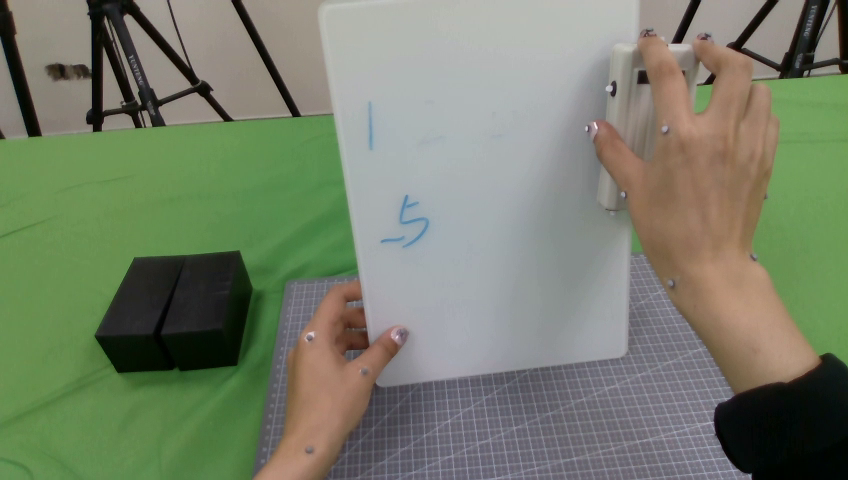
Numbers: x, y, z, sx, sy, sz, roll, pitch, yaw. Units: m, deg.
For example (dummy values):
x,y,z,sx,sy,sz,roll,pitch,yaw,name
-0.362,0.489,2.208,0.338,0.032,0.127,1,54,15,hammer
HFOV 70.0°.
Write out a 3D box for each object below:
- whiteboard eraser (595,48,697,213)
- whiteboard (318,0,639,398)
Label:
x,y,z,sx,sy,sz,roll,pitch,yaw,name
0.153,-0.075,0.424,0.055,0.113,0.041,-1,19,-2,whiteboard eraser
0.048,-0.047,0.516,0.217,0.307,0.143,-6,21,-2,whiteboard
